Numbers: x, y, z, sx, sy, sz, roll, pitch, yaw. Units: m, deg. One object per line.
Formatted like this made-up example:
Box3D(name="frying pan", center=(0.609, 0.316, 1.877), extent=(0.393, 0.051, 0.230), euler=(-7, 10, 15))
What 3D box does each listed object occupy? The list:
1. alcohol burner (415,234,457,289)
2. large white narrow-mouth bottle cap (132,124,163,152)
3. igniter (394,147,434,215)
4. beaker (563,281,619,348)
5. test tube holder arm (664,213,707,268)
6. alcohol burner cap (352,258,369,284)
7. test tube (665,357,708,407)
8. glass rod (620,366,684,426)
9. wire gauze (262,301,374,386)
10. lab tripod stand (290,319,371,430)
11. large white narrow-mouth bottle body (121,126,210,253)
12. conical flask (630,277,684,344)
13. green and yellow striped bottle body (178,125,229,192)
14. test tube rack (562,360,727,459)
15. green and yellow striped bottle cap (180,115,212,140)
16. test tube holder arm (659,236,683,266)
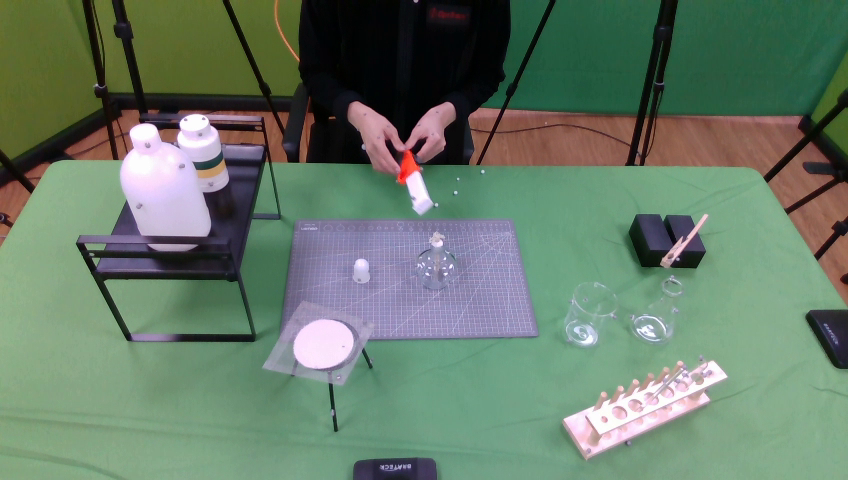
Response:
Box3D(name="alcohol burner", center=(0.022, 0.033, 1.099), extent=(0.078, 0.120, 0.077), euler=(1, 47, -1))
Box3D(name="large white narrow-mouth bottle cap", center=(-0.371, -0.137, 0.813), extent=(0.038, 0.024, 0.037), euler=(3, 46, -3))
Box3D(name="igniter", center=(-0.022, -0.117, 1.115), extent=(0.057, 0.025, 0.275), euler=(-41, 27, 11))
Box3D(name="beaker", center=(0.283, 0.129, 1.041), extent=(0.074, 0.101, 0.083), euler=(11, 46, 6))
Box3D(name="test tube holder arm", center=(0.507, -0.001, 1.171), extent=(0.013, 0.015, 0.178), euler=(34, 54, 26))
Box3D(name="alcohol burner cap", center=(-0.117, 0.055, 1.118), extent=(0.034, 0.048, 0.033), euler=(2, 46, -2))
Box3D(name="test tube", center=(0.387, 0.216, 0.905), extent=(0.017, 0.151, 0.017), euler=(1, 53, -1))
Box3D(name="glass rod", center=(0.322, 0.227, 0.866), extent=(0.008, 0.200, 0.008), euler=(5, 51, -7))
Box3D(name="wire gauze", center=(-0.150, 0.148, 0.873), extent=(0.121, 0.011, 0.124), euler=(14, 46, 12))
Box3D(name="lab tripod stand", center=(-0.146, 0.193, 0.923), extent=(0.148, 0.132, 0.147), euler=(1, 47, -1))
Box3D(name="large white narrow-mouth bottle body", center=(-0.378, -0.077, 0.875), extent=(0.102, 0.195, 0.101), euler=(3, 46, -3))
Box3D(name="conical flask", center=(0.408, 0.117, 1.045), extent=(0.075, 0.122, 0.075), euler=(2, 46, -2))
Box3D(name="green and yellow striped bottle body", center=(-0.361, -0.142, 0.989), extent=(0.063, 0.120, 0.063), euler=(2, 46, -2))
Box3D(name="test tube rack", center=(0.341, 0.247, 0.940), extent=(0.243, 0.085, 0.066), euler=(-16, 49, -18))
Box3D(name="green and yellow striped bottle cap", center=(-0.358, -0.177, 0.951), extent=(0.045, 0.020, 0.045), euler=(1, 45, -1))
Box3D(name="test tube holder arm", center=(0.472, 0.020, 1.149), extent=(0.010, 0.015, 0.088), euler=(35, 54, 27))
